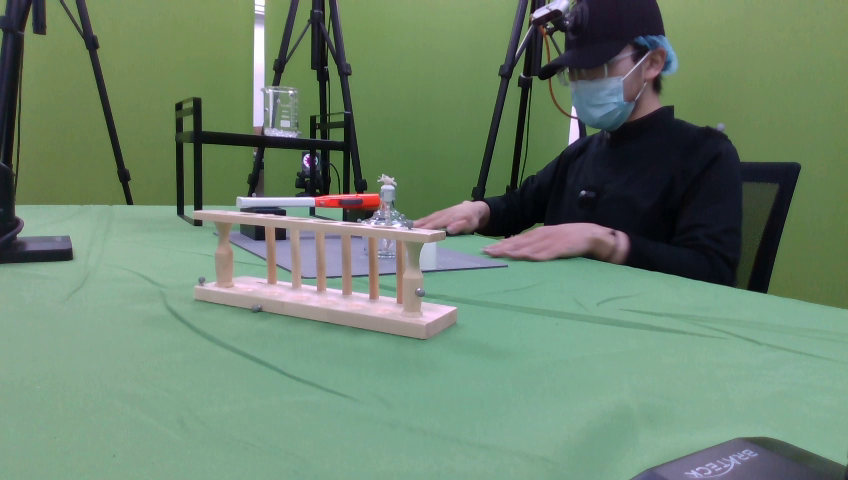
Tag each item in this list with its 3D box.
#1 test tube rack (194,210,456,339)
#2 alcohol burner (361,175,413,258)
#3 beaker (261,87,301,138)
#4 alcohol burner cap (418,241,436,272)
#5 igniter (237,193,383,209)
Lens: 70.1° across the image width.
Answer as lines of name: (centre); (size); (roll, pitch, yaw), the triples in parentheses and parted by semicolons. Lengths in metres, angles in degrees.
test tube rack: (-0.093, 0.023, 0.545); (0.241, 0.085, 0.067); (6, 8, 25)
alcohol burner: (-0.054, -0.034, 0.870); (0.078, 0.119, 0.078); (1, 9, 0)
beaker: (-0.298, -0.263, 1.255); (0.084, 0.100, 0.073); (-5, 10, -40)
alcohol burner cap: (0.001, 0.015, 0.787); (0.034, 0.048, 0.034); (4, 7, 0)
igniter: (-0.190, -0.069, 1.072); (0.278, 0.025, 0.057); (-5, 11, -35)
